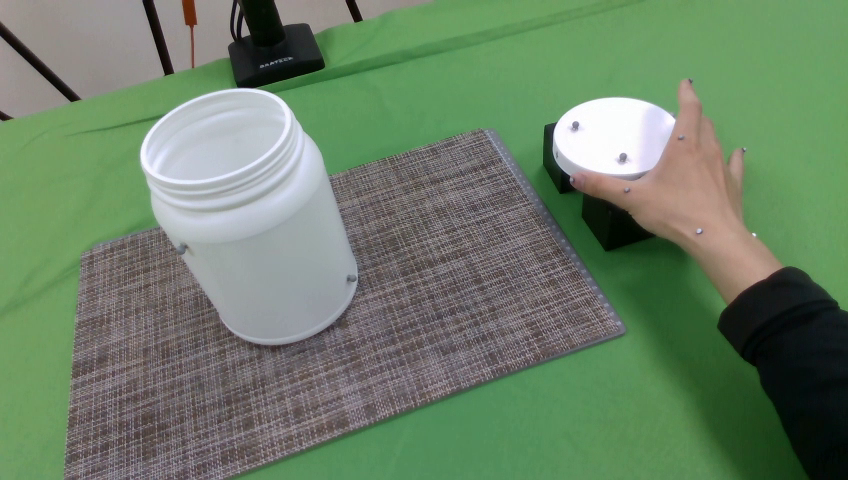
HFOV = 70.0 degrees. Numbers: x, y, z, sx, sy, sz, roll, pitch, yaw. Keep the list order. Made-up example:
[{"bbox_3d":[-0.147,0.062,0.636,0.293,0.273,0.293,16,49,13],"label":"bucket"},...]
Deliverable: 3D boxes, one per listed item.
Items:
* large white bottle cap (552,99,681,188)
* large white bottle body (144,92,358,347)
[{"bbox_3d":[0.178,-0.092,0.565,0.115,0.018,0.113,-4,47,5],"label":"large white bottle cap"},{"bbox_3d":[-0.134,-0.013,0.495,0.130,0.186,0.129,-4,48,5],"label":"large white bottle body"}]
